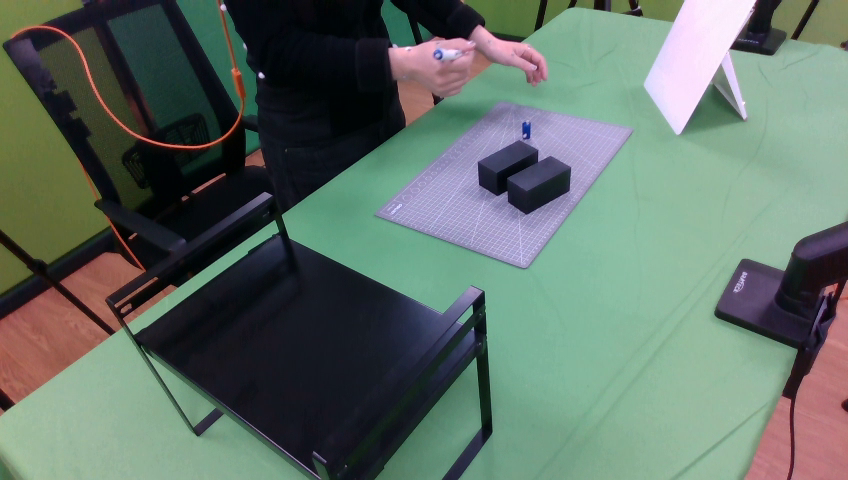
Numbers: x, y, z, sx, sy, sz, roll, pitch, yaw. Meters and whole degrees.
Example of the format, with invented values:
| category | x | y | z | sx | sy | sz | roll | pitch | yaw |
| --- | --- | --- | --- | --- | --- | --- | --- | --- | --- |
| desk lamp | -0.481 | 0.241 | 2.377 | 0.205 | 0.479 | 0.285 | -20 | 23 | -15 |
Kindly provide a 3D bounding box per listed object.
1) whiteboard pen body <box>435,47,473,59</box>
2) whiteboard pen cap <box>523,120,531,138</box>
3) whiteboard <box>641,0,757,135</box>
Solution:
| category | x | y | z | sx | sy | sz | roll | pitch | yaw |
| --- | --- | --- | --- | --- | --- | --- | --- | --- | --- |
| whiteboard pen body | 0.050 | -0.288 | 0.933 | 0.017 | 0.017 | 0.141 | 12 | 20 | 22 |
| whiteboard pen cap | 0.203 | -0.217 | 1.186 | 0.018 | 0.033 | 0.018 | -6 | 41 | 6 |
| whiteboard | 0.575 | -0.367 | 1.147 | 0.144 | 0.305 | 0.216 | 10 | 39 | -9 |
